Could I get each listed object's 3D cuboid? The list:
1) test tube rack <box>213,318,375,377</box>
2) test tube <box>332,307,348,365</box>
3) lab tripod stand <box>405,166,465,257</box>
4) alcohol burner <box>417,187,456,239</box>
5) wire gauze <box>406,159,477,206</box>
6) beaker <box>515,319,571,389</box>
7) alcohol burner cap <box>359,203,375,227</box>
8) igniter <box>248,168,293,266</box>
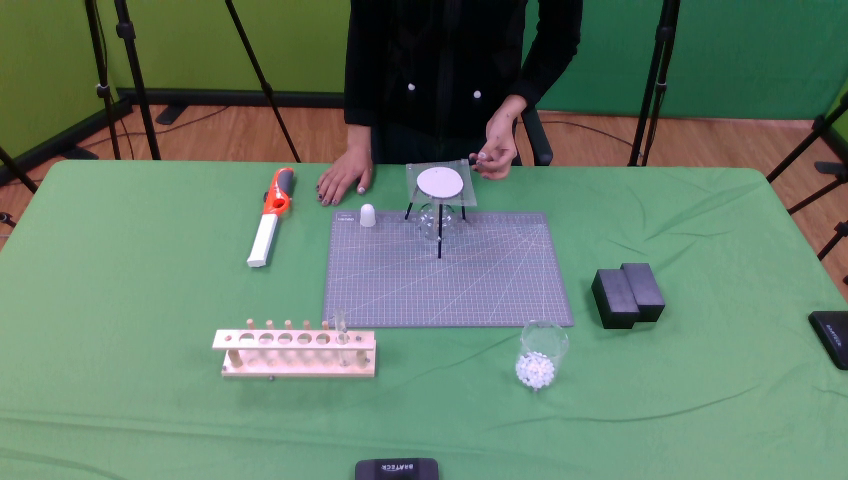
[{"bbox_3d":[-0.202,0.170,0.977,0.242,0.085,0.066,1,46,-3],"label":"test tube rack"},{"bbox_3d":[-0.128,0.151,0.931,0.017,0.151,0.017,2,50,-2],"label":"test tube"},{"bbox_3d":[0.030,-0.063,1.180,0.148,0.132,0.147,3,47,-3],"label":"lab tripod stand"},{"bbox_3d":[0.025,-0.059,1.189,0.078,0.120,0.077,1,48,-1],"label":"alcohol burner"},{"bbox_3d":[0.031,-0.108,1.129,0.125,0.011,0.120,-1,48,-4],"label":"wire gauze"},{"bbox_3d":[0.186,0.186,0.980,0.074,0.101,0.083,-23,51,-24],"label":"beaker"},{"bbox_3d":[-0.115,-0.053,1.224,0.034,0.048,0.033,3,47,-3],"label":"alcohol burner cap"},{"bbox_3d":[-0.307,-0.055,1.225,0.057,0.025,0.275,-3,46,6],"label":"igniter"}]
